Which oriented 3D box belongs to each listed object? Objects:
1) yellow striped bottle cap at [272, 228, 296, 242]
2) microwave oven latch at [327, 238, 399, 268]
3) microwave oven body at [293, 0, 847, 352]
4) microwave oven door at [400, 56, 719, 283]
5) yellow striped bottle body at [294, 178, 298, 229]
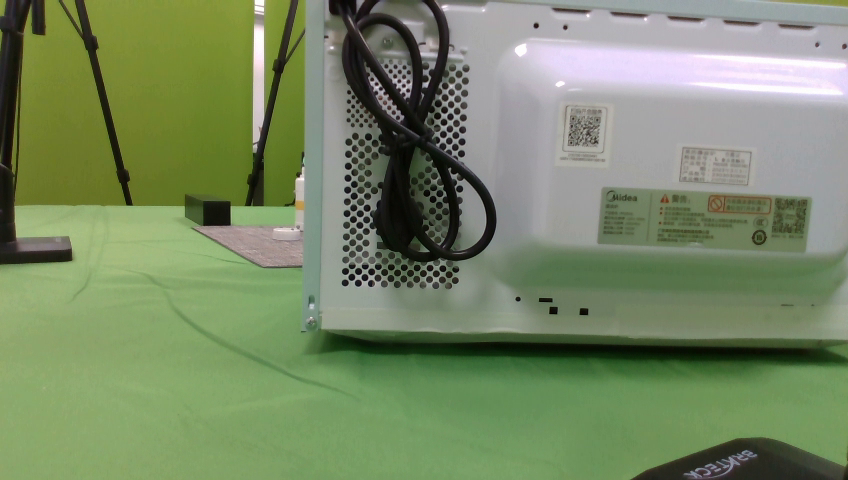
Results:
[{"bbox_3d":[-0.232,-0.008,1.012,0.044,0.018,0.044,4,8,0],"label":"yellow striped bottle cap"},{"bbox_3d":[-0.069,0.015,0.694,0.079,0.029,0.030,3,7,-3],"label":"microwave oven latch"},{"bbox_3d":[0.122,-0.055,0.550,0.442,0.260,0.325,3,7,-5],"label":"microwave oven body"},{"bbox_3d":[0.155,-0.077,0.698,0.356,0.243,0.039,2,8,-5],"label":"microwave oven door"},{"bbox_3d":[-0.213,-0.078,1.142,0.063,0.120,0.063,2,8,0],"label":"yellow striped bottle body"}]
